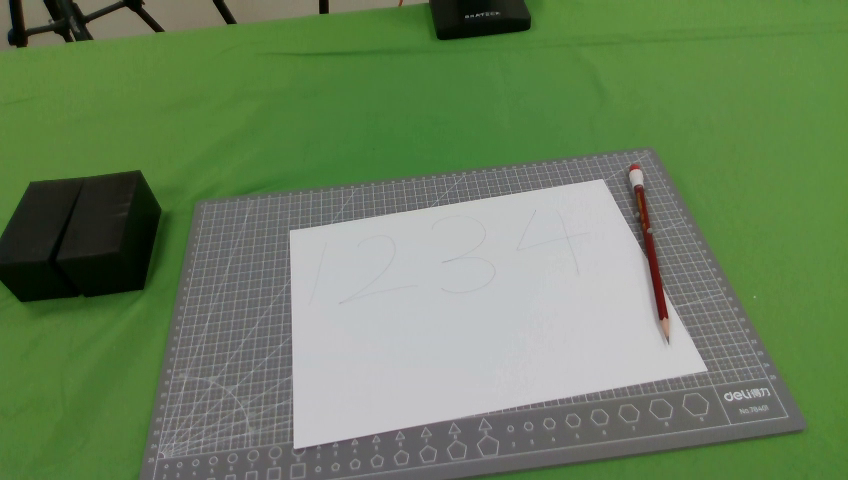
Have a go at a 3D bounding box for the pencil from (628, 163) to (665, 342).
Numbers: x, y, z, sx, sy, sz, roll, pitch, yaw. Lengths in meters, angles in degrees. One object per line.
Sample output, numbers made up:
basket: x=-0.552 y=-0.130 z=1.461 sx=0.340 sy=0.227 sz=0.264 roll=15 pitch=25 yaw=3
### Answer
pencil: x=0.189 y=0.003 z=0.513 sx=0.012 sy=0.012 sz=0.192 roll=2 pitch=50 yaw=6
